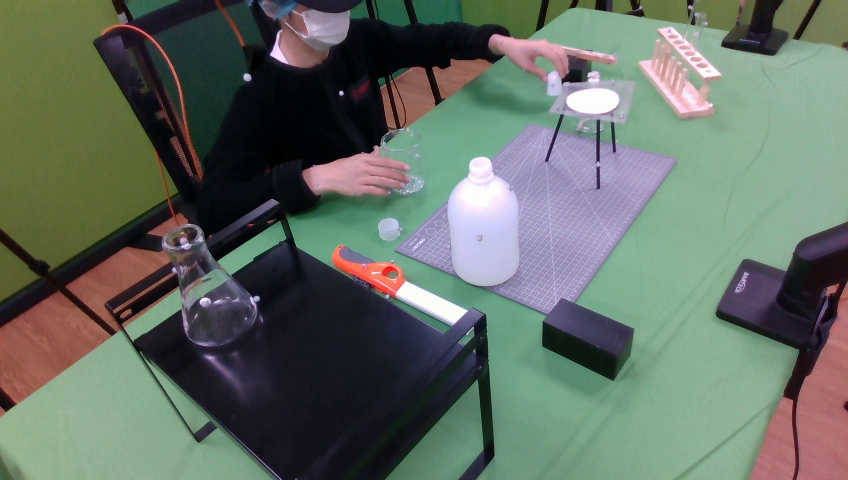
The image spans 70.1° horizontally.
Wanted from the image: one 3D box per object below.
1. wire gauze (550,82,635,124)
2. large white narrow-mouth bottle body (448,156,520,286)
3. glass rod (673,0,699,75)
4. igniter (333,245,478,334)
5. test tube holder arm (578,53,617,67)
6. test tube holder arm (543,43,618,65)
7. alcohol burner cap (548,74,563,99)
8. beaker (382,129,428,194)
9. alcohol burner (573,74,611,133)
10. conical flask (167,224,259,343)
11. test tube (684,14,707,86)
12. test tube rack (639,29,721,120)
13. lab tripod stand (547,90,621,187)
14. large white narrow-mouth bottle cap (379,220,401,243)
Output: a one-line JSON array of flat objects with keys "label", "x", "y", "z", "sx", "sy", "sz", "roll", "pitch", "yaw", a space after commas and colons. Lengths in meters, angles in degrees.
[{"label": "wire gauze", "x": 0.285, "y": -0.236, "z": 1.020, "sx": 0.124, "sy": 0.011, "sz": 0.121, "roll": 10, "pitch": 44, "yaw": 22}, {"label": "large white narrow-mouth bottle body", "x": 0.086, "y": -0.032, "z": 0.869, "sx": 0.102, "sy": 0.195, "sz": 0.101, "roll": -4, "pitch": 40, "yaw": 4}, {"label": "glass rod", "x": 0.541, "y": -0.427, "z": 1.246, "sx": 0.008, "sy": 0.200, "sz": 0.008, "roll": 0, "pitch": 48, "yaw": 1}, {"label": "igniter", "x": -0.039, "y": 0.068, "z": 0.905, "sx": 0.274, "sy": 0.025, "sz": 0.057, "roll": 24, "pitch": 61, "yaw": 32}, {"label": "test tube holder arm", "x": 0.376, "y": -0.393, "z": 1.314, "sx": 0.087, "sy": 0.015, "sz": 0.010, "roll": 26, "pitch": 51, "yaw": 32}, {"label": "test tube holder arm", "x": 0.345, "y": -0.413, "z": 1.340, "sx": 0.177, "sy": 0.015, "sz": 0.013, "roll": 25, "pitch": 50, "yaw": 31}, {"label": "alcohol burner cap", "x": 0.272, "y": -0.323, "z": 1.259, "sx": 0.034, "sy": 0.048, "sz": 0.033, "roll": -9, "pitch": 39, "yaw": 8}, {"label": "beaker", "x": -0.030, "y": -0.142, "z": 1.096, "sx": 0.073, "sy": 0.101, "sz": 0.084, "roll": 13, "pitch": 44, "yaw": 23}, {"label": "alcohol burner", "x": 0.330, "y": -0.270, "z": 1.177, "sx": 0.078, "sy": 0.119, "sz": 0.077, "roll": -4, "pitch": 43, "yaw": 4}, {"label": "conical flask", "x": -0.220, "y": 0.041, "z": 0.613, "sx": 0.075, "sy": 0.122, "sz": 0.075, "roll": -5, "pitch": 40, "yaw": 4}, {"label": "test tube", "x": 0.541, "y": -0.379, "z": 1.216, "sx": 0.017, "sy": 0.151, "sz": 0.017, "roll": -2, "pitch": 44, "yaw": 2}, {"label": "test tube rack", "x": 0.527, "y": -0.351, "z": 1.262, "sx": 0.067, "sy": 0.085, "sz": 0.241, "roll": -8, "pitch": 40, "yaw": 1}, {"label": "lab tripod stand", "x": 0.289, "y": -0.184, "z": 1.062, "sx": 0.148, "sy": 0.132, "sz": 0.147, "roll": -6, "pitch": 41, "yaw": 6}, {"label": "large white narrow-mouth bottle cap", "x": -0.057, "y": -0.015, "z": 1.011, "sx": 0.038, "sy": 0.024, "sz": 0.037, "roll": -4, "pitch": 40, "yaw": 4}]
